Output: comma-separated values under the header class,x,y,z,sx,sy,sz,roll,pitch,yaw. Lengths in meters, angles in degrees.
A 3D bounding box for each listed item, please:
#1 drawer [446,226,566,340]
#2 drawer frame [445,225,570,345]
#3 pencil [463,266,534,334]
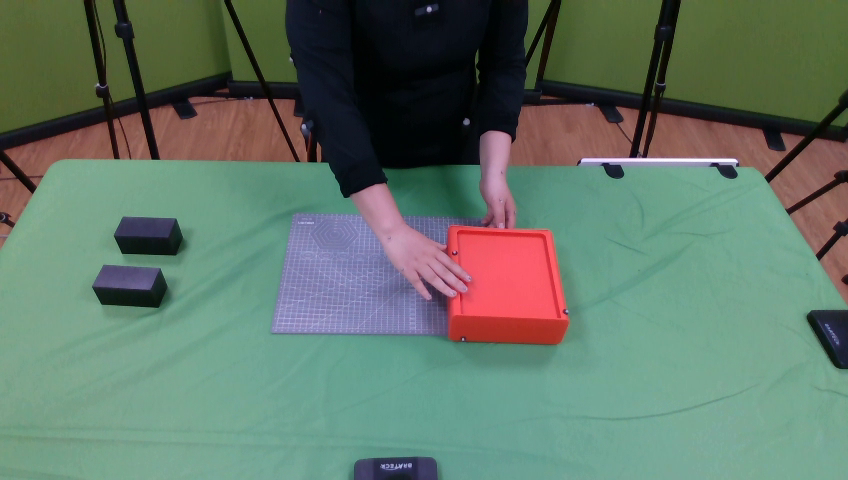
class,x,y,z,sx,sy,sz,roll,pitch,yaw
drawer,0.140,0.073,1.093,0.194,0.073,0.210,3,47,-3
drawer frame,0.141,0.077,1.089,0.202,0.083,0.212,3,47,-4
pencil,0.131,0.104,1.098,0.012,0.012,0.193,-26,51,-26
